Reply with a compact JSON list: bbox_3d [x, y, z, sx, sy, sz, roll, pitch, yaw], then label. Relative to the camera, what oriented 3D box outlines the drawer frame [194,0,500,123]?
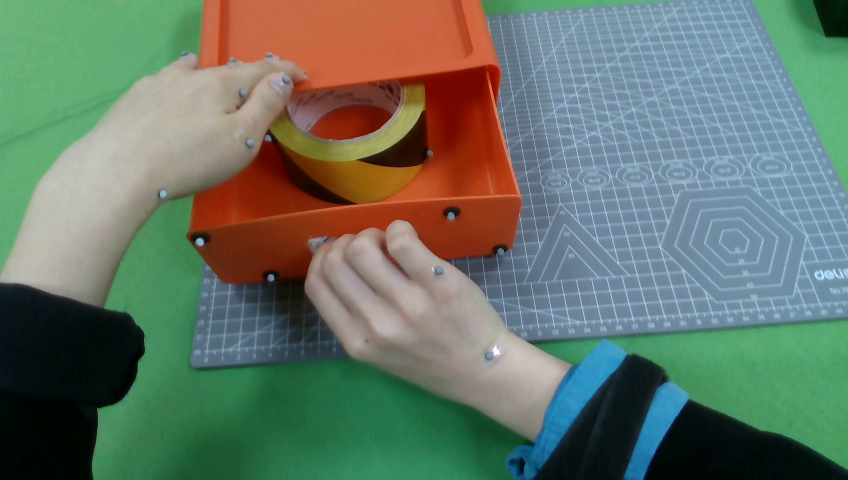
[{"bbox_3d":[-0.062,-0.169,0.469,0.202,0.083,0.211,-9,60,-2],"label":"drawer frame"}]

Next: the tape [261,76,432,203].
[{"bbox_3d":[-0.052,-0.086,0.430,0.117,0.053,0.116,-1,61,1],"label":"tape"}]

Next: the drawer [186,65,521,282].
[{"bbox_3d":[-0.049,-0.084,0.423,0.194,0.074,0.209,-7,60,-1],"label":"drawer"}]
